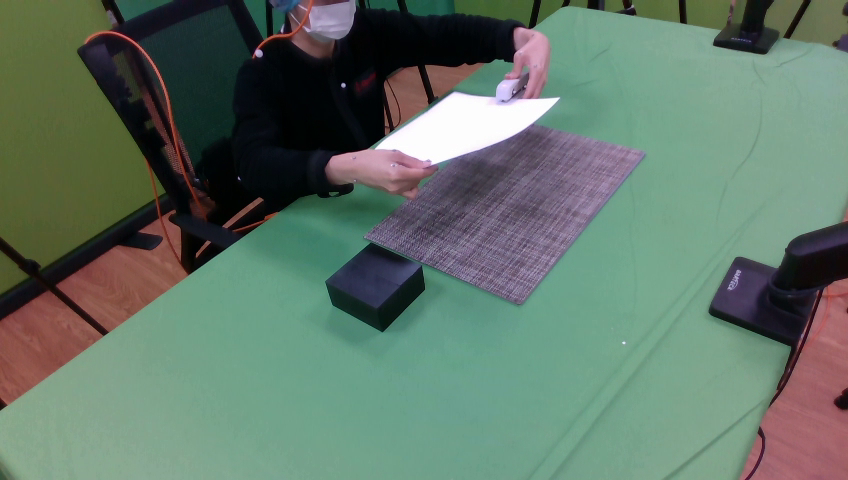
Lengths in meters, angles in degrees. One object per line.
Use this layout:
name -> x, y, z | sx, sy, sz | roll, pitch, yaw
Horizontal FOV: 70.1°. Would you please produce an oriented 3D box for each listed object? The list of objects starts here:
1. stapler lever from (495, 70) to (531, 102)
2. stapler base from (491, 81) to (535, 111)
stapler lever -> 0.165, -0.290, 1.119 | 0.026, 0.040, 0.118 | 16, 47, 25
stapler base -> 0.167, -0.276, 1.128 | 0.041, 0.024, 0.131 | 16, 38, 25
